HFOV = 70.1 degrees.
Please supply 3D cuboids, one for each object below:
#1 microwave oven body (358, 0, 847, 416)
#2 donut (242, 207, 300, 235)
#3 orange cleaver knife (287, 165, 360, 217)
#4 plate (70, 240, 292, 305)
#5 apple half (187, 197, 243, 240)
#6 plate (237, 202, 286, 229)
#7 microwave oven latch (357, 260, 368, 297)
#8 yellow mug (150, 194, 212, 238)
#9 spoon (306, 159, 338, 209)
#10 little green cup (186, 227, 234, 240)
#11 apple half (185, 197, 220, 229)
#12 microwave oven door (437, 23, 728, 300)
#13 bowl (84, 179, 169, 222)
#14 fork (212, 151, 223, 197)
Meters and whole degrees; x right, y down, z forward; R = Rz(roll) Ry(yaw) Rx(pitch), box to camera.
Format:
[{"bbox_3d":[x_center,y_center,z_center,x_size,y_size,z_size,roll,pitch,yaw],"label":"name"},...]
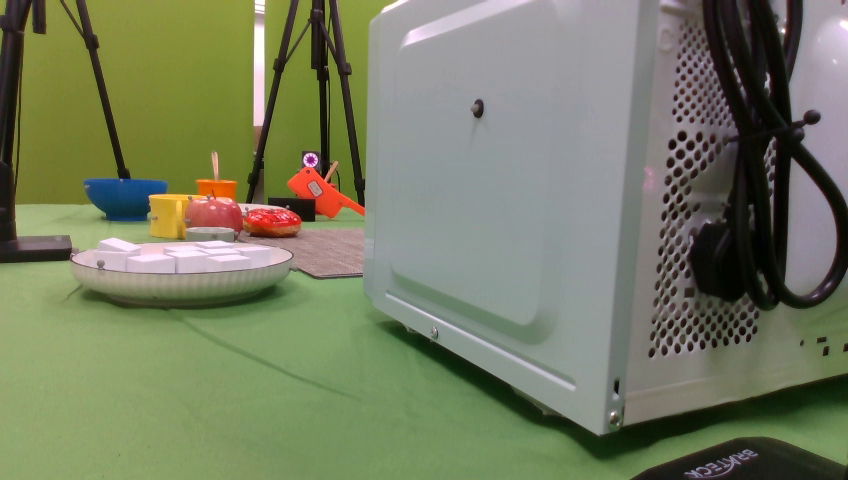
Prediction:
[{"bbox_3d":[0.211,-0.047,0.475,0.444,0.260,0.324,-1,7,-28],"label":"microwave oven body"},{"bbox_3d":[-0.263,-0.032,1.039,0.099,0.048,0.099,4,9,0],"label":"donut"},{"bbox_3d":[-0.210,-0.093,1.382,0.212,0.077,0.012,33,1,-15],"label":"orange cleaver knife"},{"bbox_3d":[-0.242,0.031,0.618,0.208,0.039,0.207,2,8,0],"label":"plate"},{"bbox_3d":[-0.305,-0.026,0.907,0.053,0.074,0.081,12,8,31],"label":"apple half"},{"bbox_3d":[-0.376,-0.048,1.183,0.209,0.038,0.209,2,8,0],"label":"plate"},{"bbox_3d":[-0.019,0.033,0.531,0.079,0.029,0.030,-1,7,-27],"label":"microwave oven latch"},{"bbox_3d":[-0.401,-0.039,1.003,0.100,0.064,0.130,0,9,-20],"label":"yellow mug"},{"bbox_3d":[-0.257,-0.147,1.567,0.041,0.022,0.193,2,50,20],"label":"spoon"},{"bbox_3d":[-0.285,0.005,0.805,0.061,0.038,0.061,2,8,0],"label":"little green cup"},{"bbox_3d":[-0.338,-0.031,0.927,0.032,0.081,0.081,12,12,31],"label":"apple half"},{"bbox_3d":[0.180,-0.072,0.621,0.358,0.243,0.039,-2,8,-29],"label":"microwave oven door"},{"bbox_3d":[-0.584,-0.078,1.194,0.151,0.077,0.151,3,8,0],"label":"bowl"},{"bbox_3d":[-0.494,-0.143,1.442,0.028,0.018,0.206,-1,52,-21],"label":"fork"}]
